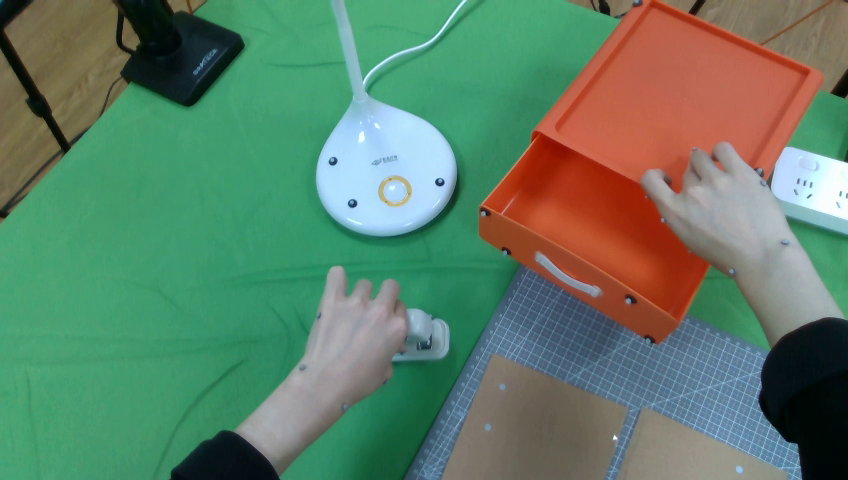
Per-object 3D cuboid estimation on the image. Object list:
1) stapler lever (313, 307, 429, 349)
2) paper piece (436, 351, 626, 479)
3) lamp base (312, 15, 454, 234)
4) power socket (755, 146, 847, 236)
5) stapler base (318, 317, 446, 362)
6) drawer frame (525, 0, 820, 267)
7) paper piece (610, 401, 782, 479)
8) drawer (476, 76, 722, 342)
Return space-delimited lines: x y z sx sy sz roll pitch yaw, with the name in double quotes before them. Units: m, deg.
"stapler lever" -0.053 0.083 0.569 0.118 0.040 0.026 -6 59 14
"paper piece" 0.098 0.187 0.557 0.135 0.009 0.137 21 69 16
"lamp base" -0.057 -0.122 0.618 0.161 0.182 0.177 -25 63 -9
"power socket" 0.460 -0.036 0.629 0.226 0.033 0.072 20 68 12
"stapler base" -0.045 0.095 0.591 0.130 0.025 0.041 -6 60 13
"drawer frame" 0.239 -0.115 0.602 0.200 0.083 0.213 32 70 17
"paper piece" 0.229 0.231 0.528 0.135 0.004 0.135 24 69 14
"drawer" 0.185 -0.044 0.574 0.193 0.074 0.211 32 70 17
